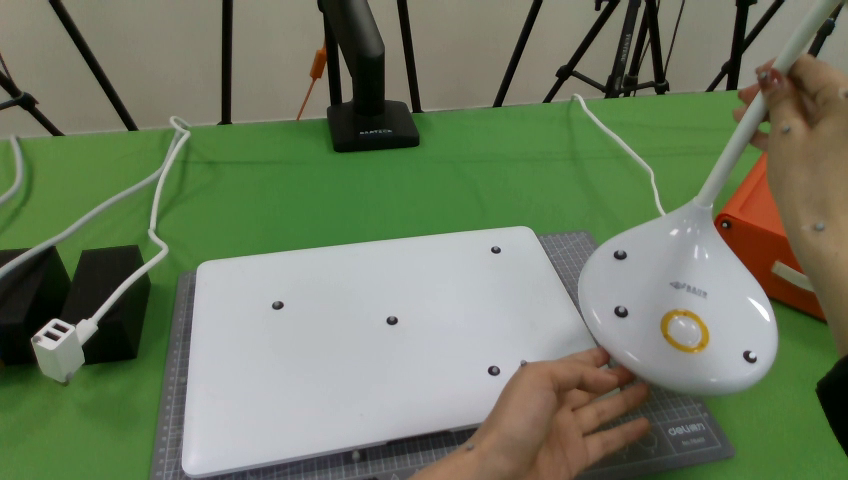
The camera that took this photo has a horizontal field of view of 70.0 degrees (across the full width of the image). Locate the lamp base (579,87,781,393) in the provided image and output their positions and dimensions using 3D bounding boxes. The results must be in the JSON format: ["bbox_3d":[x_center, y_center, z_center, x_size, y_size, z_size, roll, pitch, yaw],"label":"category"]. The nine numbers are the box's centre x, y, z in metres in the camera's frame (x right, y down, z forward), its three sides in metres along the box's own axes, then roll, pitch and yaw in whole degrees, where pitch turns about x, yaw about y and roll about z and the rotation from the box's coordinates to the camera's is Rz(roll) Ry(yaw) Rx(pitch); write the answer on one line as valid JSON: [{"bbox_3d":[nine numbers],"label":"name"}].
[{"bbox_3d":[0.215,-0.009,0.448,0.160,0.182,0.177,10,44,3],"label":"lamp base"}]

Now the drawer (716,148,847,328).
[{"bbox_3d":[0.438,-0.007,0.657,0.193,0.074,0.211,27,44,28],"label":"drawer"}]

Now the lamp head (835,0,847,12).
[{"bbox_3d":[0.202,-0.135,0.189,0.112,0.113,0.122,14,83,14],"label":"lamp head"}]

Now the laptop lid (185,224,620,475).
[{"bbox_3d":[-0.027,0.076,0.554,0.357,0.013,0.239,-5,42,-10],"label":"laptop lid"}]

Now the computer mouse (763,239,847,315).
[{"bbox_3d":[0.412,0.038,0.621,0.116,0.041,0.062,26,43,19],"label":"computer mouse"}]

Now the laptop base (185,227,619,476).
[{"bbox_3d":[-0.028,0.084,0.563,0.355,0.023,0.233,-6,44,-12],"label":"laptop base"}]

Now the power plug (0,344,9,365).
[{"bbox_3d":[-0.357,0.080,0.499,0.035,0.053,0.072,8,55,16],"label":"power plug"}]

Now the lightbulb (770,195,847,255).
[{"bbox_3d":[0.433,-0.013,0.677,0.059,0.060,0.107,2,23,-1],"label":"lightbulb"}]

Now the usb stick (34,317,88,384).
[{"bbox_3d":[-0.284,0.090,0.477,0.021,0.059,0.027,20,40,5],"label":"usb stick"}]

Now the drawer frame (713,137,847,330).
[{"bbox_3d":[0.439,-0.011,0.659,0.200,0.083,0.213,27,44,27],"label":"drawer frame"}]
